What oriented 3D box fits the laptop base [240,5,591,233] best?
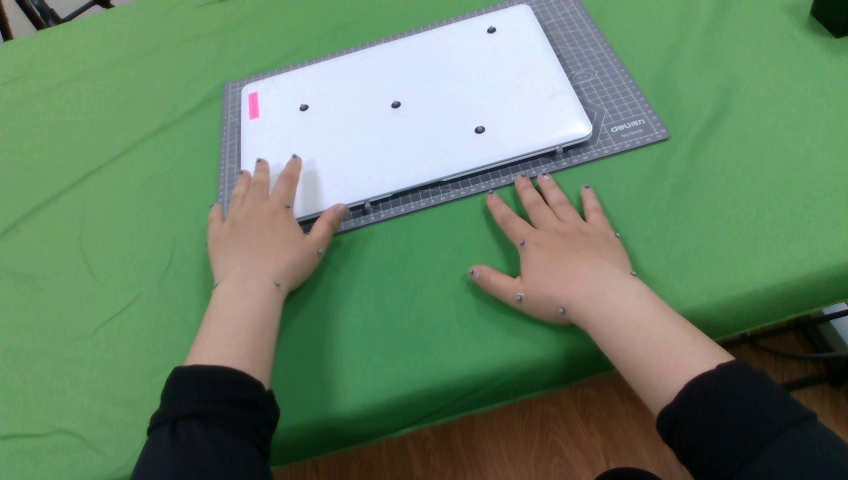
[{"bbox_3d":[-0.028,-0.138,0.654,0.354,0.023,0.233,-16,54,3],"label":"laptop base"}]

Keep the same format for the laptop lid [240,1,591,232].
[{"bbox_3d":[-0.030,-0.143,0.644,0.356,0.013,0.239,-15,53,4],"label":"laptop lid"}]
